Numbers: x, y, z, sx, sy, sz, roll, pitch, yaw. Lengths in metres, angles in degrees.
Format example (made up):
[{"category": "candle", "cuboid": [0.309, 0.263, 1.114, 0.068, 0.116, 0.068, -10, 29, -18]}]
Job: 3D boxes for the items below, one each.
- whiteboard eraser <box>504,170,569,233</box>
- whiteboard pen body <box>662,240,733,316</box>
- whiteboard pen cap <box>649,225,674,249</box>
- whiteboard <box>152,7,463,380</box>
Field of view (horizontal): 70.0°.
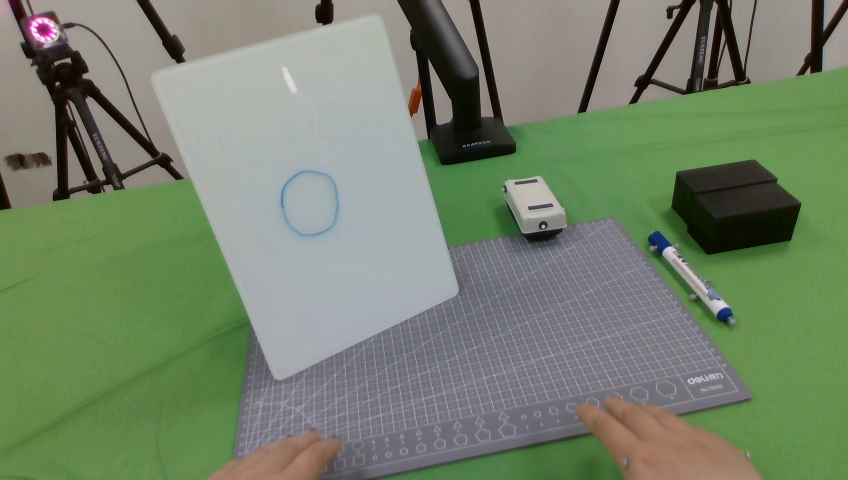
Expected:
[{"category": "whiteboard eraser", "cuboid": [0.139, -0.049, 0.763, 0.055, 0.042, 0.111, -11, 32, -1]}, {"category": "whiteboard pen body", "cuboid": [0.285, 0.032, 0.649, 0.017, 0.017, 0.139, -11, 36, -5]}, {"category": "whiteboard pen cap", "cuboid": [0.274, -0.002, 0.695, 0.018, 0.018, 0.033, -11, 34, -5]}, {"category": "whiteboard", "cuboid": [-0.119, -0.054, 0.640, 0.217, 0.307, 0.142, -24, 20, -20]}]
